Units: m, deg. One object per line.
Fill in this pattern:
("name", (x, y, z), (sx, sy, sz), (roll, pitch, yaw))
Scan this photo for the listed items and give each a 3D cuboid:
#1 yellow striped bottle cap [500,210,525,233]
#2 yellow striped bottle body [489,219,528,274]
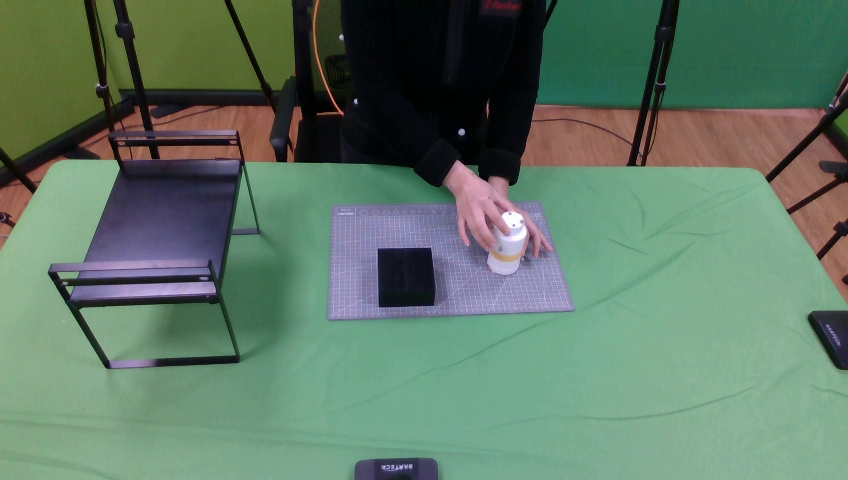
("yellow striped bottle cap", (0.160, -0.033, 1.094), (0.044, 0.019, 0.044), (3, 47, -3))
("yellow striped bottle body", (0.158, 0.003, 1.132), (0.063, 0.121, 0.062), (1, 47, -1))
